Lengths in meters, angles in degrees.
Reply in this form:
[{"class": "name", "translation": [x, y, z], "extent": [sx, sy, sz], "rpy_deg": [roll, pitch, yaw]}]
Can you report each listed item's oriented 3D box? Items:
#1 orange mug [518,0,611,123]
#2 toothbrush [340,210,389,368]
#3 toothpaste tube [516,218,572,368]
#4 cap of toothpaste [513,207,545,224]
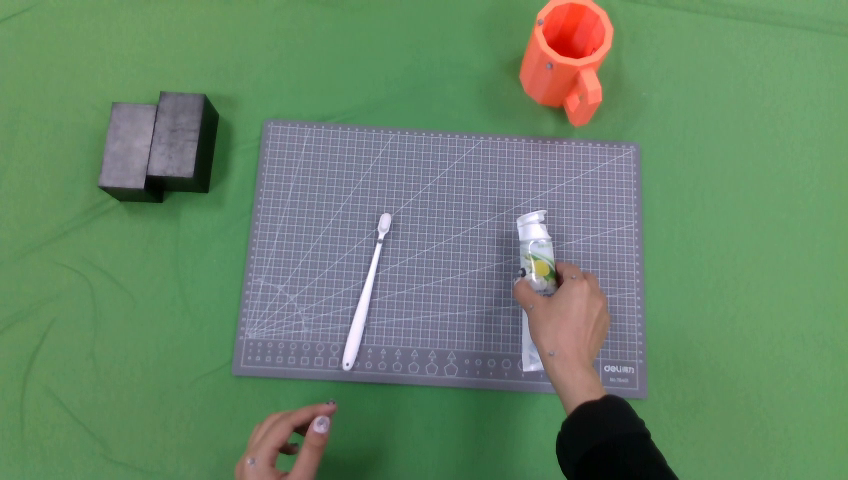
[{"class": "orange mug", "translation": [0.165, -0.203, 0.700], "extent": [0.083, 0.101, 0.125], "rpy_deg": [-18, 73, -6]}, {"class": "toothbrush", "translation": [-0.065, 0.052, 0.671], "extent": [0.014, 0.016, 0.181], "rpy_deg": [16, 78, -12]}, {"class": "toothpaste tube", "translation": [0.124, 0.055, 0.661], "extent": [0.055, 0.034, 0.165], "rpy_deg": [-7, 86, 15]}, {"class": "cap of toothpaste", "translation": [0.116, -0.026, 0.665], "extent": [0.037, 0.037, 0.011], "rpy_deg": [-16, 78, -6]}]
